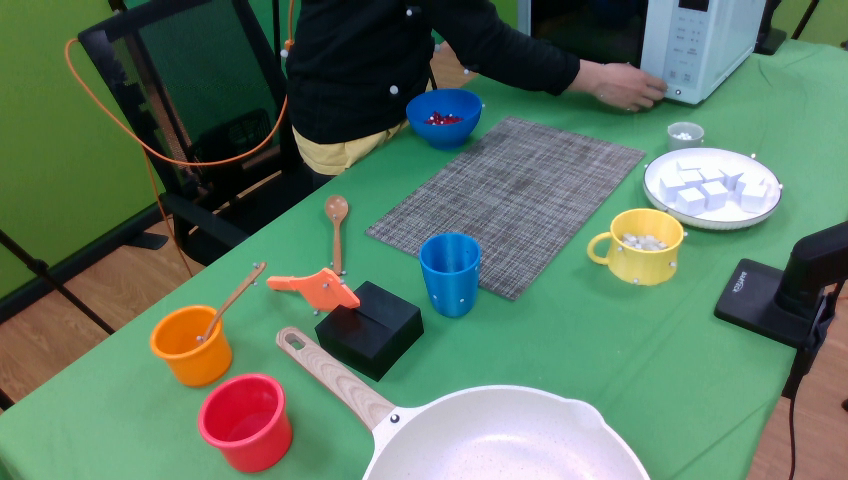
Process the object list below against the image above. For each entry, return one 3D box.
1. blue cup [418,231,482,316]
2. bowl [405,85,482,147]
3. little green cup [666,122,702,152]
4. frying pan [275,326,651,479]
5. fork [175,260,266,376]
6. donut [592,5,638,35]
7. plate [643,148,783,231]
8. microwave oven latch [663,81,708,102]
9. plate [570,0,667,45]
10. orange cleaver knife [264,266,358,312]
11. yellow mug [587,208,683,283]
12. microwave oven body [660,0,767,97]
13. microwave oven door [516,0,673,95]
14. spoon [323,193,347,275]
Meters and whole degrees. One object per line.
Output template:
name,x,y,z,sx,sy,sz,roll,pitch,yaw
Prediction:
blue cup,0.040,0.053,0.843,0.092,0.100,0.092,-4,43,4
bowl,0.041,-0.236,1.196,0.151,0.077,0.150,-4,40,4
little green cup,0.471,-0.184,1.102,0.061,0.039,0.061,-5,41,4
frying pan,0.004,0.229,0.641,0.484,0.103,0.308,34,54,28
fork,-0.268,0.103,0.792,0.207,0.019,0.028,-51,41,16
donut,0.427,-0.492,1.350,0.099,0.048,0.098,-8,39,7
plate,0.464,-0.080,0.986,0.207,0.039,0.206,-4,40,4
microwave oven latch,0.518,-0.299,1.202,0.078,0.029,0.030,30,53,36
plate,0.436,-0.491,1.368,0.209,0.038,0.208,-6,40,5
orange cleaver knife,-0.165,0.073,0.864,0.210,0.077,0.012,-6,31,50
yellow mug,0.305,0.009,0.884,0.131,0.064,0.099,-4,41,5
microwave oven body,0.473,-0.516,1.313,0.438,0.261,0.327,26,51,34
microwave oven door,0.344,-0.458,1.256,0.353,0.245,0.039,27,51,33
spoon,-0.149,-0.014,1.008,0.042,0.021,0.192,5,39,-13
